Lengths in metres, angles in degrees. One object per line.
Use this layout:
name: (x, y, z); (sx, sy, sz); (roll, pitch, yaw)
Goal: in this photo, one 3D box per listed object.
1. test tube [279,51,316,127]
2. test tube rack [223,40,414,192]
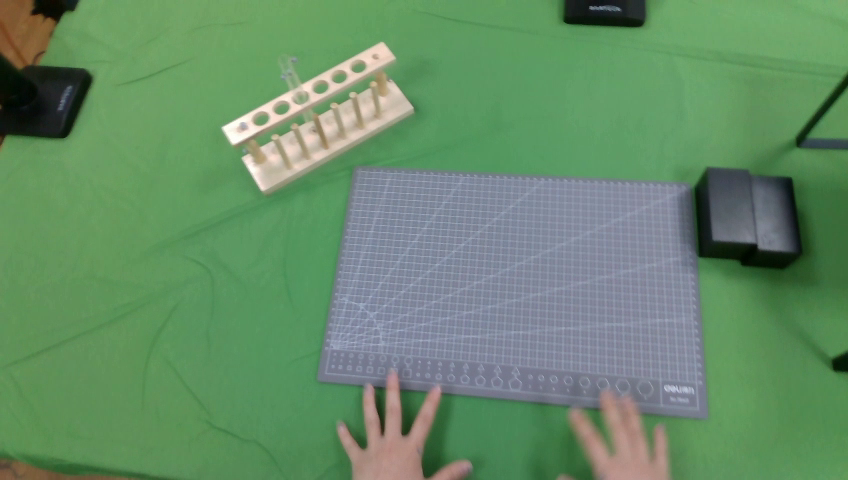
test tube: (-0.160, -0.190, 0.782); (0.017, 0.151, 0.017); (-1, 69, 3)
test tube rack: (-0.137, -0.168, 0.825); (0.242, 0.086, 0.066); (-31, 68, -9)
